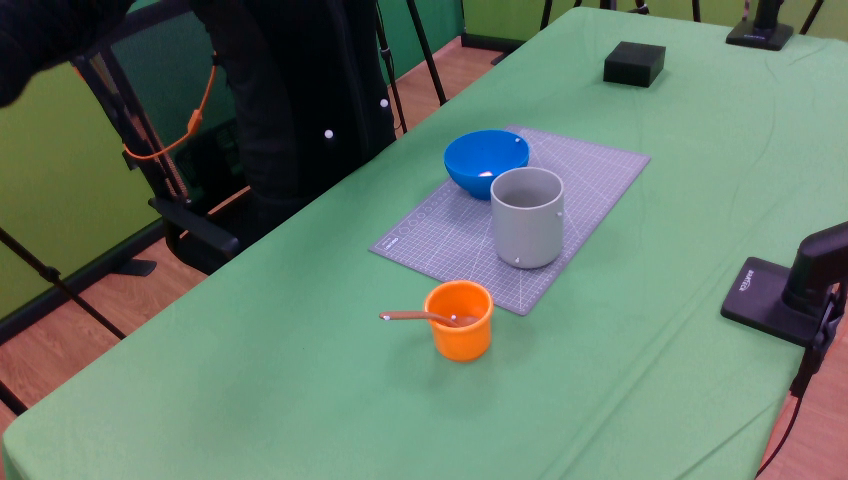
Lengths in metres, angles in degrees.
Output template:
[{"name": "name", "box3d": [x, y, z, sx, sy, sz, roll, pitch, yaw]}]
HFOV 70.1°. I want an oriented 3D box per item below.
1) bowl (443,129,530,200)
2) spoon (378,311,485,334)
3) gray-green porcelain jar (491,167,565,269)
[{"name": "bowl", "box3d": [0.113, -0.123, 1.063, 0.151, 0.077, 0.150, -6, 40, 5]}, {"name": "spoon", "box3d": [0.012, 0.101, 0.767, 0.041, 0.195, 0.021, 34, 101, 41]}, {"name": "gray-green porcelain jar", "box3d": [0.157, -0.029, 0.904, 0.106, 0.127, 0.105, -6, 40, 5]}]
